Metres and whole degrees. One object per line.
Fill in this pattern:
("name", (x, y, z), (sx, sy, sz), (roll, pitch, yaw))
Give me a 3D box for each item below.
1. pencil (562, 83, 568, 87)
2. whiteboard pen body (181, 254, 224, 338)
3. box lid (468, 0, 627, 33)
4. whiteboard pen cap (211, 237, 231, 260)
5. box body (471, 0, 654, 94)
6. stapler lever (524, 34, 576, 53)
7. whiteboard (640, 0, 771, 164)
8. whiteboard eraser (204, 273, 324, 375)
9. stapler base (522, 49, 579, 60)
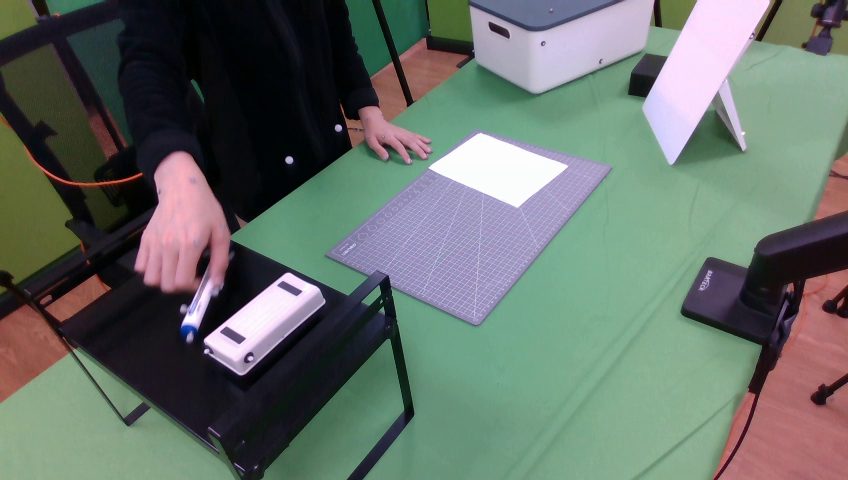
("pencil", (0.248, -0.393, 1.398), (0.193, 0.012, 0.012), (31, 52, 24))
("whiteboard pen body", (-0.231, 0.049, 0.642), (0.017, 0.017, 0.140), (-5, 37, 2))
("box lid", (0.312, -0.554, 1.358), (0.373, 0.015, 0.261), (-26, 44, -20))
("whiteboard pen cap", (-0.231, 0.013, 0.687), (0.018, 0.018, 0.033), (-6, 37, 2))
("box body", (0.319, -0.498, 1.405), (0.365, 0.161, 0.252), (-26, 43, -21))
("stapler lever", (0.297, -0.463, 1.424), (0.117, 0.040, 0.027), (5, 22, 17))
("whiteboard", (0.543, -0.299, 1.076), (0.144, 0.305, 0.216), (12, 40, -7))
("whiteboard eraser", (-0.157, 0.084, 0.605), (0.055, 0.042, 0.113), (24, 49, 30))
("stapler base", (0.300, -0.441, 1.433), (0.130, 0.024, 0.041), (3, 21, 18))
